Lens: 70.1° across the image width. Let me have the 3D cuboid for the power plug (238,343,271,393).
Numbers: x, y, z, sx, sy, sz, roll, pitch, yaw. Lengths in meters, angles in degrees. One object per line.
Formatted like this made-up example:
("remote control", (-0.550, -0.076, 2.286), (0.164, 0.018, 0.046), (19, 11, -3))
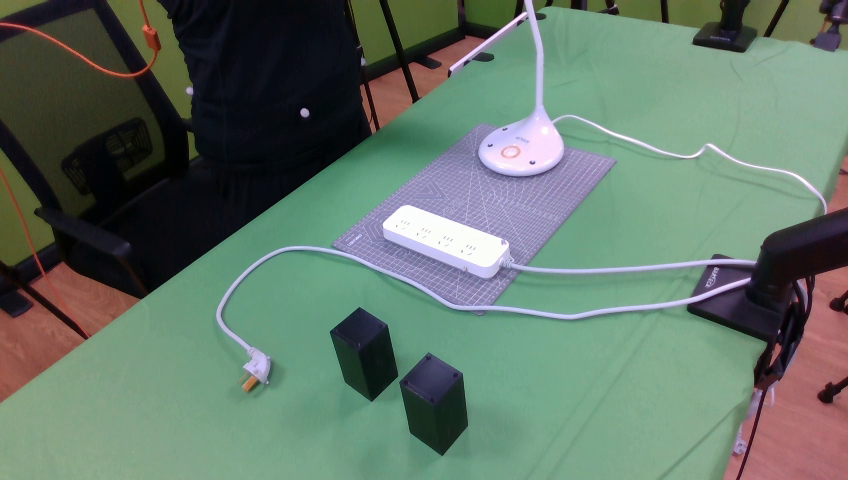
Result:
("power plug", (-0.230, 0.172, 0.801), (0.072, 0.035, 0.053), (8, 50, 49))

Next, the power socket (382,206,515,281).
("power socket", (0.032, 0.002, 0.950), (0.225, 0.033, 0.072), (21, 49, 29))

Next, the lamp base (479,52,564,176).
("lamp base", (0.181, -0.235, 1.093), (0.159, 0.181, 0.179), (18, 44, 27))
